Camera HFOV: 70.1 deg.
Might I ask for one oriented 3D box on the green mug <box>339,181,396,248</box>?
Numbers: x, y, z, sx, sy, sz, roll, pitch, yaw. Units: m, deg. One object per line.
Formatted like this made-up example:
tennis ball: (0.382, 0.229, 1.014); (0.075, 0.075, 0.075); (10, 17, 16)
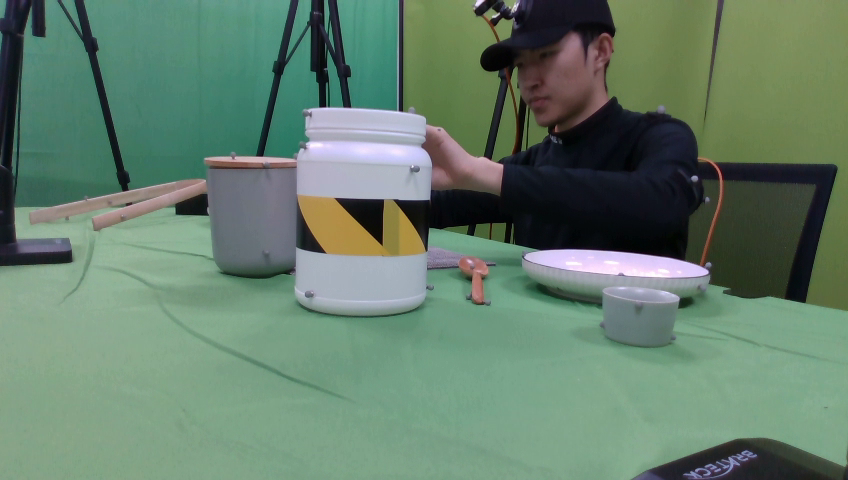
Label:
green mug: (-0.098, -0.044, 0.995); (0.093, 0.105, 0.125); (-1, 8, -22)

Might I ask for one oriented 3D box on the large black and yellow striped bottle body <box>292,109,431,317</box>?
large black and yellow striped bottle body: (-0.060, -0.028, 0.585); (0.131, 0.184, 0.130); (3, 7, 0)

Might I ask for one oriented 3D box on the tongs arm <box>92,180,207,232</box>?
tongs arm: (-0.534, -0.076, 1.221); (0.028, 0.028, 0.388); (-2, 15, 12)

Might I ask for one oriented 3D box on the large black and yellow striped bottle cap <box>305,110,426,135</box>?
large black and yellow striped bottle cap: (-0.055, -0.110, 0.574); (0.115, 0.019, 0.115); (1, 7, 0)

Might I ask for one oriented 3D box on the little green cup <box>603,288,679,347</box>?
little green cup: (0.180, 0.064, 0.505); (0.061, 0.038, 0.061); (2, 7, 0)

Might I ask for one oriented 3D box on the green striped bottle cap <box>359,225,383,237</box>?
green striped bottle cap: (-0.101, -0.016, 1.138); (0.044, 0.020, 0.044); (-3, 8, 1)

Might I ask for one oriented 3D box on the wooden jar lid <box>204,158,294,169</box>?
wooden jar lid: (-0.202, -0.086, 0.714); (0.108, 0.020, 0.108); (3, 11, 0)

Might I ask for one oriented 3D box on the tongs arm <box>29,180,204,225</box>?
tongs arm: (-0.609, -0.083, 1.245); (0.050, 0.026, 0.386); (5, 16, 23)

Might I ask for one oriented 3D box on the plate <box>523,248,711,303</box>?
plate: (0.219, 0.041, 0.706); (0.209, 0.038, 0.209); (2, 7, 0)

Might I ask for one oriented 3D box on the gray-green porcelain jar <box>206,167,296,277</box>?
gray-green porcelain jar: (-0.201, -0.024, 0.724); (0.106, 0.126, 0.106); (-1, 9, 1)

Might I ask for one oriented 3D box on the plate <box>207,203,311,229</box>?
plate: (-0.342, -0.050, 1.259); (0.208, 0.039, 0.207); (3, 7, 0)

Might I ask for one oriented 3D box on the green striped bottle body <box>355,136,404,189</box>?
green striped bottle body: (-0.068, -0.110, 0.890); (0.063, 0.063, 0.119); (1, -3, -10)

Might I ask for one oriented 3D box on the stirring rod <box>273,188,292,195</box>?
stirring rod: (-0.354, -0.122, 1.519); (0.006, 0.014, 0.176); (2, 6, 1)

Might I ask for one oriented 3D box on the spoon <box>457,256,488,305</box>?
spoon: (0.059, 0.044, 0.696); (0.041, 0.021, 0.193); (22, 7, 0)
